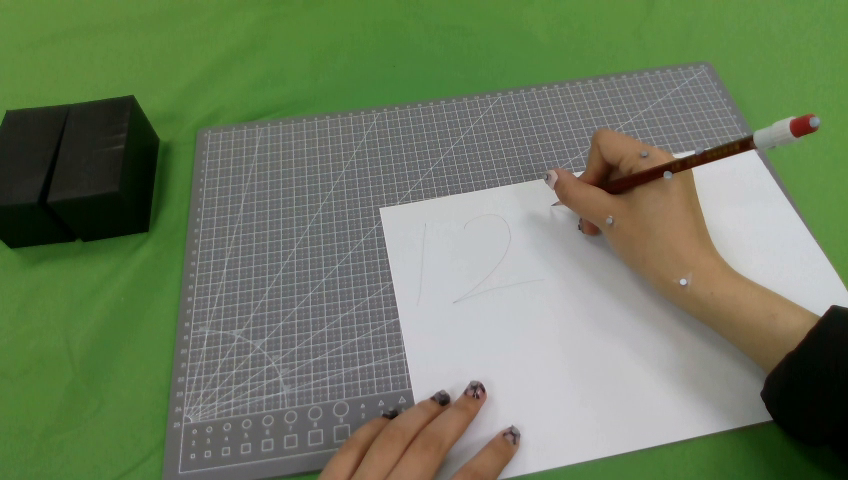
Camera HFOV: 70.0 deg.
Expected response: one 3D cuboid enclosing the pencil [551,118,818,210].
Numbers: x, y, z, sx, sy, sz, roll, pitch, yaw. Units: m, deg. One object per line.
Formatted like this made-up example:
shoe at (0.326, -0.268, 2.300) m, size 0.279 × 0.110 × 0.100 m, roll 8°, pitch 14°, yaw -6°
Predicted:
pencil at (0.140, -0.038, 0.369) m, size 0.012 × 0.193 × 0.012 m, roll 5°, pitch 79°, yaw -27°
